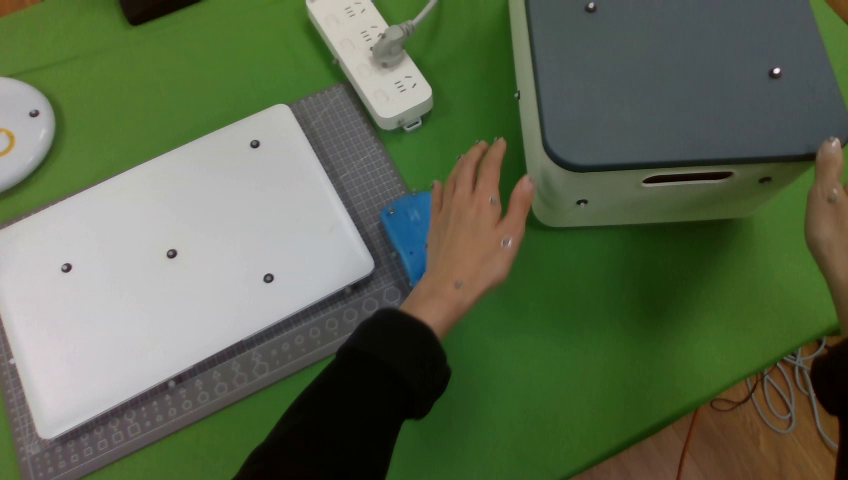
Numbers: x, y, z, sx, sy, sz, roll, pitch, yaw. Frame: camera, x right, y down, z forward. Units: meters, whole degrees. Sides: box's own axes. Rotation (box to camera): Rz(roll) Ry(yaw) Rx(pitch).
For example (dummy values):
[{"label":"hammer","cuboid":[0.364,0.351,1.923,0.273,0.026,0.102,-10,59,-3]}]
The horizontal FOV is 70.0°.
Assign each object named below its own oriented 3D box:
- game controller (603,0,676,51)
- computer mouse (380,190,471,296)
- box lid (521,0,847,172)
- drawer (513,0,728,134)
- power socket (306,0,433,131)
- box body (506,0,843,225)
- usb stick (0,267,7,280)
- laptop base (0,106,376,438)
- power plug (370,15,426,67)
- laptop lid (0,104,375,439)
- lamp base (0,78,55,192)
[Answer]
[{"label":"game controller","cuboid":[0.205,-0.287,0.659,0.097,0.052,0.154,-28,71,-13]},{"label":"computer mouse","cuboid":[0.000,-0.001,0.628,0.063,0.041,0.116,-23,65,-6]},{"label":"box lid","cuboid":[0.224,-0.235,0.573,0.263,0.015,0.368,-3,69,0]},{"label":"drawer","cuboid":[0.214,-0.229,0.703,0.194,0.074,0.209,-5,58,2]},{"label":"power socket","cuboid":[-0.068,-0.225,0.727,0.072,0.033,0.225,-28,70,-11]},{"label":"box body","cuboid":[0.226,-0.204,0.640,0.254,0.161,0.361,-3,68,0]},{"label":"usb stick","cuboid":[-0.463,0.041,0.621,0.059,0.027,0.021,-23,63,-11]},{"label":"laptop base","cuboid":[-0.256,0.018,0.639,0.354,0.023,0.234,-28,73,-10]},{"label":"power plug","cuboid":[-0.026,-0.222,0.700,0.072,0.053,0.035,-17,67,-7]},{"label":"laptop lid","cuboid":[-0.255,0.016,0.627,0.357,0.013,0.240,-26,72,-9]},{"label":"lamp base","cuboid":[-0.522,-0.153,0.629,0.178,0.181,0.160,20,69,13]}]
